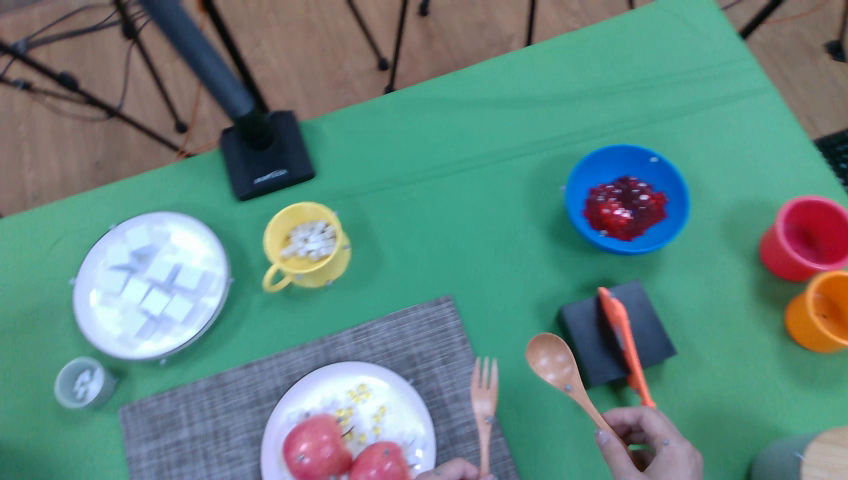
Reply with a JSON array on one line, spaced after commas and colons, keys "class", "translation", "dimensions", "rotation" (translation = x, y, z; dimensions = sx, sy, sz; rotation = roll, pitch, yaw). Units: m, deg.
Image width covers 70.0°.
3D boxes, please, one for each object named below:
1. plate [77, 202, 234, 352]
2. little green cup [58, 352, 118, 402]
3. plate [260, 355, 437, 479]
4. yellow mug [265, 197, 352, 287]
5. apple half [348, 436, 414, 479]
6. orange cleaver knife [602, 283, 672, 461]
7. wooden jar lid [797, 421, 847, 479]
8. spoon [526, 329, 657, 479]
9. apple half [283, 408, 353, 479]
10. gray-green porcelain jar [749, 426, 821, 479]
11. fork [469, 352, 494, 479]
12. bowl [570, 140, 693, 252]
[{"class": "plate", "translation": [-0.354, 0.050, 0.815], "dimensions": [0.207, 0.039, 0.206], "rotation": [-1, 69, 3]}, {"class": "little green cup", "translation": [-0.425, 0.176, 0.771], "dimensions": [0.061, 0.039, 0.061], "rotation": [-1, 71, 3]}, {"class": "plate", "translation": [-0.088, 0.243, 0.722], "dimensions": [0.209, 0.038, 0.207], "rotation": [-1, 70, 3]}, {"class": "yellow mug", "translation": [-0.160, 0.012, 0.802], "dimensions": [0.099, 0.064, 0.130], "rotation": [38, 76, 16]}, {"class": "apple half", "translation": [-0.053, 0.269, 0.703], "dimensions": [0.081, 0.033, 0.080], "rotation": [-2, 67, 5]}, {"class": "orange cleaver knife", "translation": [0.248, 0.153, 0.714], "dimensions": [0.012, 0.077, 0.211], "rotation": [-18, 93, 1]}, {"class": "wooden jar lid", "translation": [0.414, 0.231, 0.582], "dimensions": [0.108, 0.021, 0.107], "rotation": [-2, 69, 6]}, {"class": "spoon", "translation": [0.163, 0.165, 0.570], "dimensions": [0.041, 0.022, 0.193], "rotation": [-37, 79, -1]}, {"class": "apple half", "translation": [-0.128, 0.238, 0.709], "dimensions": [0.075, 0.054, 0.080], "rotation": [-20, 70, -2]}, {"class": "gray-green porcelain jar", "translation": [0.418, 0.254, 0.642], "dimensions": [0.106, 0.127, 0.105], "rotation": [-1, 69, 3]}, {"class": "fork", "translation": [0.056, 0.211, 0.588], "dimensions": [0.028, 0.018, 0.205], "rotation": [14, 61, -19]}, {"class": "bowl", "translation": [0.261, -0.046, 0.790], "dimensions": [0.151, 0.077, 0.150], "rotation": [-1, 70, 3]}]
